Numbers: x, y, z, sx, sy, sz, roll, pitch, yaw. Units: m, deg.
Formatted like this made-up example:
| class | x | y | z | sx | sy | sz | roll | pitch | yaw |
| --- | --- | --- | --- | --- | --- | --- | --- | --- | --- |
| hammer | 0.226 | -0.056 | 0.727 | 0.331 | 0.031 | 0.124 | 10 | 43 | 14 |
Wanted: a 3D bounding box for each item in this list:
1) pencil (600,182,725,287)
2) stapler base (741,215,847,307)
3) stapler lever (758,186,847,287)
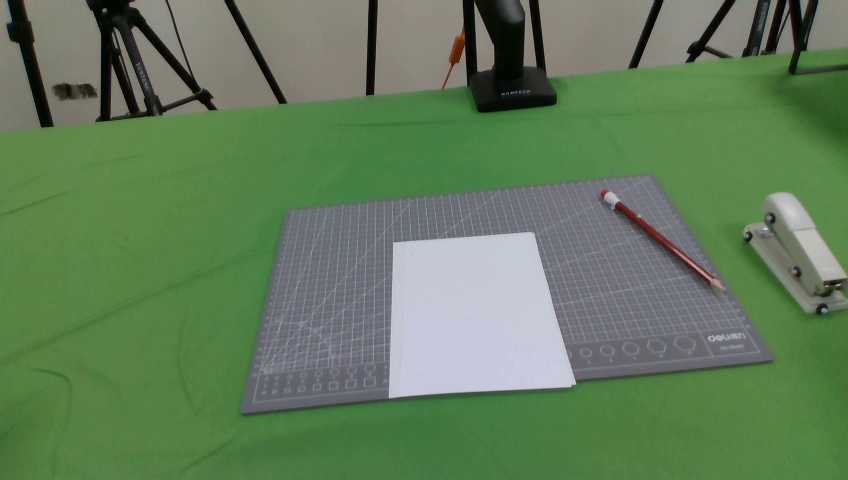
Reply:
| class | x | y | z | sx | sy | sz | roll | pitch | yaw |
| --- | --- | --- | --- | --- | --- | --- | --- | --- | --- |
| pencil | 0.244 | -0.010 | 0.635 | 0.012 | 0.012 | 0.192 | -18 | 41 | -15 |
| stapler base | 0.359 | 0.011 | 0.591 | 0.041 | 0.025 | 0.129 | -9 | 41 | 0 |
| stapler lever | 0.357 | -0.007 | 0.575 | 0.027 | 0.040 | 0.117 | -9 | 40 | 0 |
